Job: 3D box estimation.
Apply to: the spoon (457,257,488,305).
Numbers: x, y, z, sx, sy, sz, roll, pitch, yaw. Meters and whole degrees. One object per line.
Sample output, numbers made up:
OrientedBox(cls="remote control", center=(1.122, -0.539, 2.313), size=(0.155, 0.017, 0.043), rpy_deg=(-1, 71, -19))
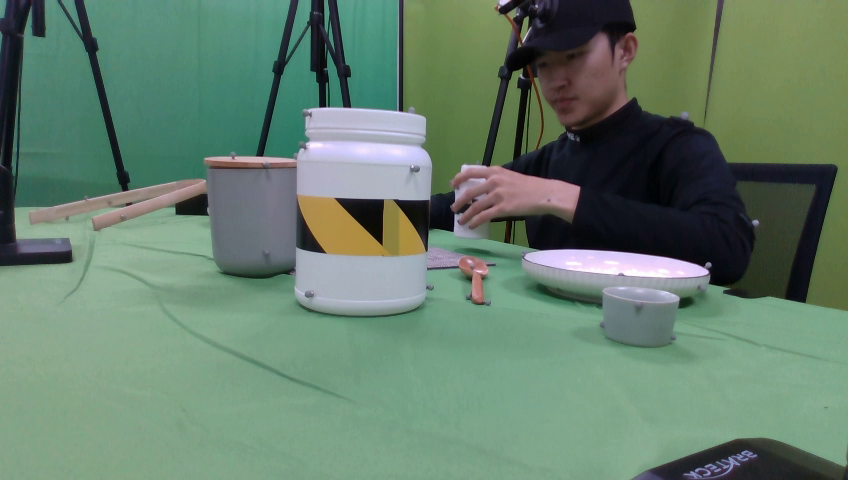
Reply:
OrientedBox(cls="spoon", center=(0.059, 0.044, 0.696), size=(0.041, 0.021, 0.193), rpy_deg=(20, 7, 0))

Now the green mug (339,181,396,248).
OrientedBox(cls="green mug", center=(-0.097, -0.044, 0.995), size=(0.093, 0.105, 0.125), rpy_deg=(-1, 8, -21))

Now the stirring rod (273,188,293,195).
OrientedBox(cls="stirring rod", center=(-0.353, -0.122, 1.518), size=(0.006, 0.014, 0.176), rpy_deg=(1, 6, 1))

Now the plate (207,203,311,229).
OrientedBox(cls="plate", center=(-0.342, -0.050, 1.259), size=(0.208, 0.039, 0.207), rpy_deg=(2, 7, 0))

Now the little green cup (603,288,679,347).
OrientedBox(cls="little green cup", center=(0.180, 0.064, 0.505), size=(0.061, 0.038, 0.061), rpy_deg=(2, 6, 0))

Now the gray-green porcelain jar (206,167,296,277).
OrientedBox(cls="gray-green porcelain jar", center=(-0.201, -0.024, 0.724), size=(0.106, 0.126, 0.106), rpy_deg=(-1, 9, 1))

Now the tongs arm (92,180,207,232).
OrientedBox(cls="tongs arm", center=(-0.534, -0.075, 1.222), size=(0.028, 0.028, 0.388), rpy_deg=(-2, 15, 12))

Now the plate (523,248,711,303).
OrientedBox(cls="plate", center=(0.219, 0.041, 0.706), size=(0.209, 0.038, 0.209), rpy_deg=(2, 7, 0))

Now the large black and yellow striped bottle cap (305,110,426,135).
OrientedBox(cls="large black and yellow striped bottle cap", center=(-0.055, -0.110, 0.574), size=(0.115, 0.019, 0.115), rpy_deg=(1, 7, 0))

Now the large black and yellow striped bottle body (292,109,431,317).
OrientedBox(cls="large black and yellow striped bottle body", center=(-0.060, -0.028, 0.585), size=(0.131, 0.184, 0.130), rpy_deg=(3, 7, 0))

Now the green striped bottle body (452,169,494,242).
OrientedBox(cls="green striped bottle body", center=(0.083, -0.060, 1.014), size=(0.063, 0.119, 0.063), rpy_deg=(5, 9, -1))

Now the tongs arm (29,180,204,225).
OrientedBox(cls="tongs arm", center=(-0.609, -0.083, 1.245), size=(0.050, 0.026, 0.386), rpy_deg=(5, 16, 23))

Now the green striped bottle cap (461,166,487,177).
OrientedBox(cls="green striped bottle cap", center=(0.084, -0.114, 1.011), size=(0.044, 0.020, 0.044), rpy_deg=(3, 5, 0))

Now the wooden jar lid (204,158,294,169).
OrientedBox(cls="wooden jar lid", center=(-0.202, -0.086, 0.714), size=(0.108, 0.020, 0.108), rpy_deg=(3, 11, 0))
